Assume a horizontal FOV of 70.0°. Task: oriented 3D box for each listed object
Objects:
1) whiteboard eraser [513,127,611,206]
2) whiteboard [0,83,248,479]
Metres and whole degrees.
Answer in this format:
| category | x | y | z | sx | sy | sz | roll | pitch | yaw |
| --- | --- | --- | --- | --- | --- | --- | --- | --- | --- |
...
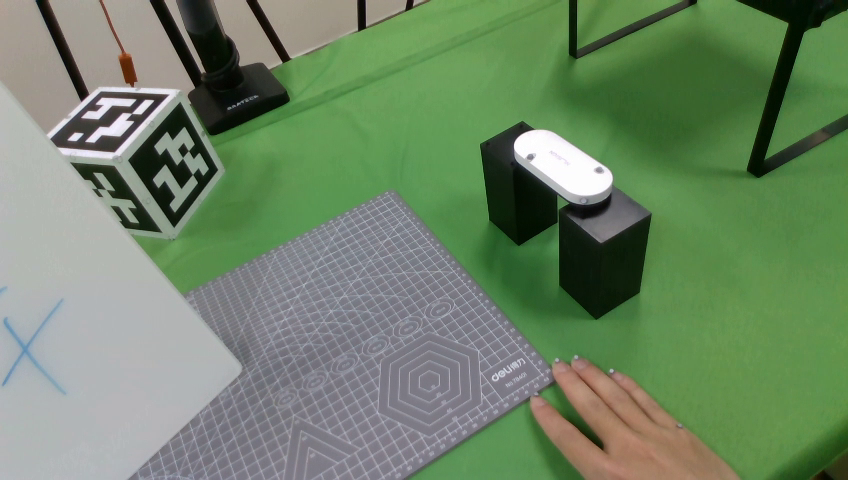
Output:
| category | x | y | z | sx | sy | sz | roll | pitch | yaw |
| --- | --- | --- | --- | --- | --- | --- | --- | --- | --- |
| whiteboard eraser | 0.114 | -0.064 | 0.508 | 0.041 | 0.019 | 0.100 | -30 | 49 | -16 |
| whiteboard | -0.333 | 0.061 | 0.474 | 0.142 | 0.308 | 0.217 | 13 | 50 | 48 |
